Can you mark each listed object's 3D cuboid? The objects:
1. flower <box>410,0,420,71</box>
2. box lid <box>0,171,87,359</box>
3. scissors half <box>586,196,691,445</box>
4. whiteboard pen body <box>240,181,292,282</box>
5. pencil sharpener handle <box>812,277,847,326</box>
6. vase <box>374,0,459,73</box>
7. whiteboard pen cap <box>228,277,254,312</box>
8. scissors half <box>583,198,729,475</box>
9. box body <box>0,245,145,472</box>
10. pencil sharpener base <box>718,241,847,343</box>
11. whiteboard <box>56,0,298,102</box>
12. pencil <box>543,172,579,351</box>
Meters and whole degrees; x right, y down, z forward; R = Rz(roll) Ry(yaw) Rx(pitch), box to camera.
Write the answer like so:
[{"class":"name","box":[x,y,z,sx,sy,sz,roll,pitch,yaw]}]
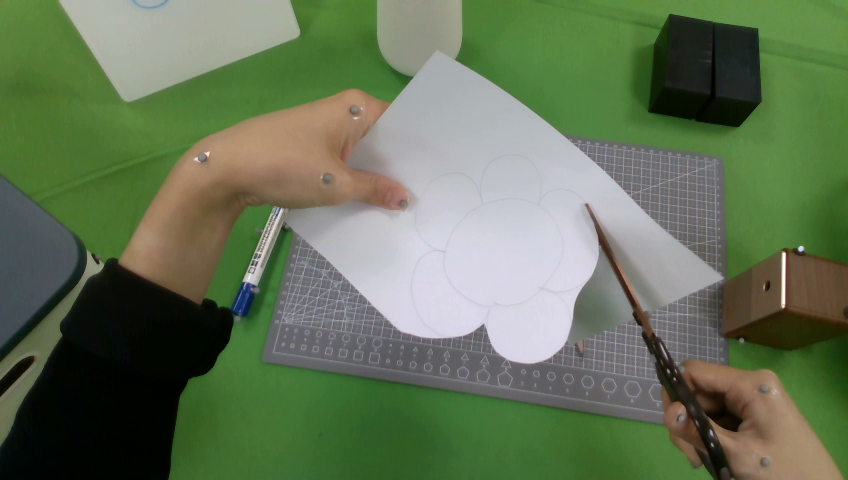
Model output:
[{"class":"flower","box":[-0.014,-0.310,0.556,0.044,0.365,0.038,1,51,3]},{"class":"box lid","box":[-0.472,0.004,0.459,0.370,0.015,0.262,34,72,11]},{"class":"scissors half","box":[0.134,0.051,0.369,0.013,0.040,0.176,-25,106,10]},{"class":"whiteboard pen body","box":[-0.165,0.001,0.622,0.017,0.017,0.140,15,68,5]},{"class":"pencil sharpener handle","box":[0.387,0.060,0.553,0.030,0.068,0.035,12,63,1]},{"class":"vase","box":[-0.009,-0.267,0.629,0.098,0.201,0.097,0,68,0]},{"class":"whiteboard pen cap","box":[-0.180,0.053,0.600,0.018,0.018,0.033,14,66,5]},{"class":"scissors half","box":[0.132,0.054,0.349,0.013,0.040,0.174,-26,84,5]},{"class":"box body","box":[-0.471,0.032,0.528,0.362,0.161,0.253,34,73,11]},{"class":"pencil sharpener base","box":[0.337,0.052,0.565,0.077,0.107,0.061,12,69,0]},{"class":"whiteboard","box":[-0.295,-0.342,0.627,0.217,0.308,0.142,-25,52,-9]},{"class":"pencil","box":[0.143,0.018,0.625,0.012,0.012,0.192,-5,71,-3]}]
